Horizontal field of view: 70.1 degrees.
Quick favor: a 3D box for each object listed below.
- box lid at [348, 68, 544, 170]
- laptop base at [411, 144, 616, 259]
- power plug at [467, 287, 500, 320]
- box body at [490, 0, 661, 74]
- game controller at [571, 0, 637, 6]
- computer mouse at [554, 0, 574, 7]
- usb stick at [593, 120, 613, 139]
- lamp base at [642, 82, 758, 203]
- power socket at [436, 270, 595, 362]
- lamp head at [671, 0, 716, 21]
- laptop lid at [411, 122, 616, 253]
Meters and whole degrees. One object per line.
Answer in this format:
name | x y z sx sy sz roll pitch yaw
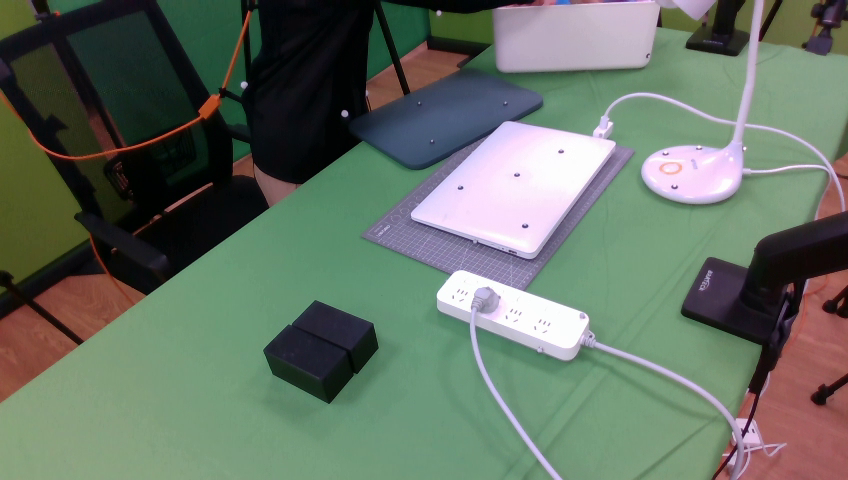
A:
box lid | 0.048 -0.272 1.298 0.373 0.015 0.261 -31 45 -25
laptop base | 0.168 -0.102 1.074 0.234 0.023 0.355 17 46 30
power plug | 0.073 0.092 0.814 0.035 0.053 0.073 29 54 34
box body | 0.346 -0.520 1.429 0.363 0.161 0.253 0 41 9
game controller | 0.410 -0.545 1.381 0.155 0.051 0.097 -9 10 -7
computer mouse | 0.371 -0.560 1.454 0.117 0.041 0.062 -2 39 -2
usb stick | 0.336 -0.201 1.147 0.021 0.027 0.059 26 53 27
lamp base | 0.464 -0.174 0.992 0.179 0.181 0.159 -5 41 -1
power socket | 0.118 0.101 0.832 0.225 0.033 0.072 19 48 27
lamp head | 0.375 -0.373 0.807 0.122 0.113 0.112 -40 27 32
laptop lid | 0.164 -0.111 1.067 0.240 0.013 0.357 19 46 31
